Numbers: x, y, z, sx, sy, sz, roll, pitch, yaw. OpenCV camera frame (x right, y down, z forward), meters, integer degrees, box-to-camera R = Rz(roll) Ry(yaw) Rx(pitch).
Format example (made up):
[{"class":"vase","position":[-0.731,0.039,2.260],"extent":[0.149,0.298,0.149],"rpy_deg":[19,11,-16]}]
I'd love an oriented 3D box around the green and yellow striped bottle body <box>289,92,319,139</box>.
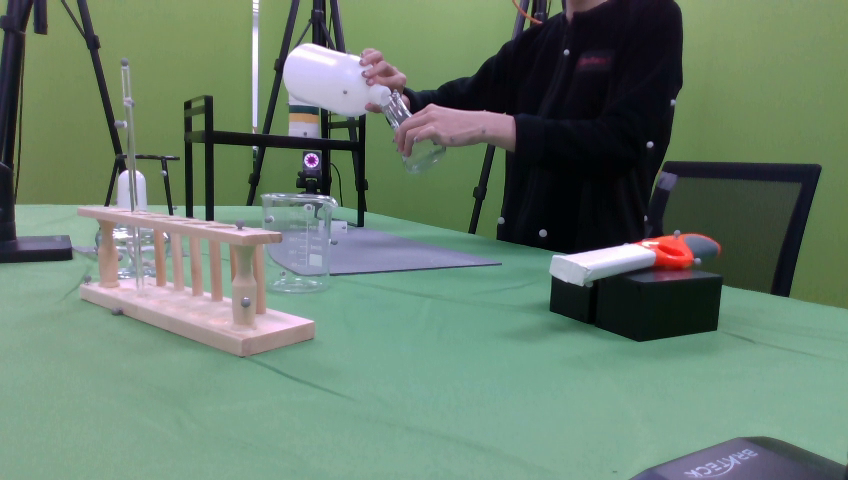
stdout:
[{"class":"green and yellow striped bottle body","position":[-0.250,-0.272,1.261],"extent":[0.063,0.119,0.063],"rpy_deg":[3,7,0]}]

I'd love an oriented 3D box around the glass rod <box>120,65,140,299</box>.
[{"class":"glass rod","position":[-0.249,-0.047,0.513],"extent":[0.008,0.199,0.008],"rpy_deg":[-1,4,0]}]

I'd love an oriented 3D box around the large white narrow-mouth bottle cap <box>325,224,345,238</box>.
[{"class":"large white narrow-mouth bottle cap","position":[-0.160,-0.017,1.090],"extent":[0.038,0.024,0.037],"rpy_deg":[3,9,0]}]

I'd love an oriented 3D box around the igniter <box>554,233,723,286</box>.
[{"class":"igniter","position":[0.214,0.015,0.570],"extent":[0.278,0.025,0.057],"rpy_deg":[-5,22,-44]}]

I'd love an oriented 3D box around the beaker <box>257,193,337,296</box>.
[{"class":"beaker","position":[-0.130,0.003,0.628],"extent":[0.084,0.100,0.074],"rpy_deg":[5,8,15]}]

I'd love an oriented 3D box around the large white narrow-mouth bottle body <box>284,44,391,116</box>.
[{"class":"large white narrow-mouth bottle body","position":[-0.135,-0.260,1.003],"extent":[0.194,0.101,0.102],"rpy_deg":[25,19,32]}]

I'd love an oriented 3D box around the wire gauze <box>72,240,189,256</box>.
[{"class":"wire gauze","position":[-0.399,0.013,0.820],"extent":[0.126,0.011,0.121],"rpy_deg":[-3,8,-37]}]

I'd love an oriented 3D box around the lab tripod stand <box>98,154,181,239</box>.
[{"class":"lab tripod stand","position":[-0.427,-0.066,0.942],"extent":[0.148,0.131,0.148],"rpy_deg":[1,6,0]}]

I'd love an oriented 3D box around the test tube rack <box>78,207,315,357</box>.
[{"class":"test tube rack","position":[-0.196,0.023,0.500],"extent":[0.241,0.085,0.067],"rpy_deg":[8,9,37]}]

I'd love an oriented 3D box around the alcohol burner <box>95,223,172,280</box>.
[{"class":"alcohol burner","position":[-0.320,-0.017,0.667],"extent":[0.078,0.119,0.078],"rpy_deg":[0,7,0]}]

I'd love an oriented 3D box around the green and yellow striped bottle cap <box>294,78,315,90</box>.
[{"class":"green and yellow striped bottle cap","position":[-0.248,-0.324,1.256],"extent":[0.045,0.020,0.045],"rpy_deg":[4,9,0]}]

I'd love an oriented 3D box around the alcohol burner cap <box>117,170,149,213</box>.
[{"class":"alcohol burner cap","position":[-0.320,-0.052,0.661],"extent":[0.034,0.048,0.034],"rpy_deg":[-3,0,0]}]

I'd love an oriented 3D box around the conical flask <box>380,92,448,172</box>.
[{"class":"conical flask","position":[-0.023,-0.172,0.948],"extent":[0.075,0.121,0.075],"rpy_deg":[-32,-7,-4]}]
